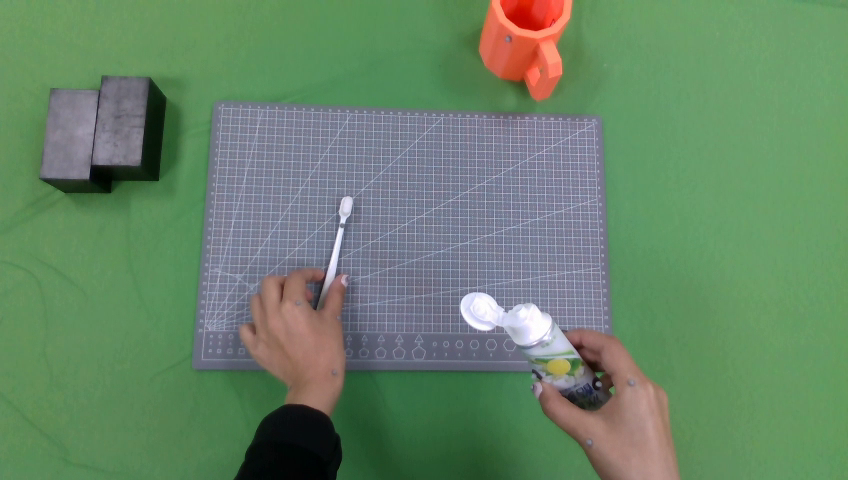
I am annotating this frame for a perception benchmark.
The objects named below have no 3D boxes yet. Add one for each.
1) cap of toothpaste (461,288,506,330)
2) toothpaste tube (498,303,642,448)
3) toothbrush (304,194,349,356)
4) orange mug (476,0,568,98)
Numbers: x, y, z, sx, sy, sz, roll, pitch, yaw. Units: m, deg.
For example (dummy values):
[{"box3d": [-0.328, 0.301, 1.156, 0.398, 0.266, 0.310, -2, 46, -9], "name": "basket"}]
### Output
[{"box3d": [0.047, 0.053, 0.476, 0.037, 0.011, 0.037, 10, 57, -16], "name": "cap of toothpaste"}, {"box3d": [0.114, 0.112, 0.491, 0.055, 0.034, 0.166, -29, 113, 26], "name": "toothpaste tube"}, {"box3d": [-0.104, 0.035, 0.655, 0.014, 0.016, 0.181, 15, 80, -19], "name": "toothbrush"}, {"box3d": [0.115, -0.229, 0.684, 0.083, 0.101, 0.125, -20, 76, -7], "name": "orange mug"}]
